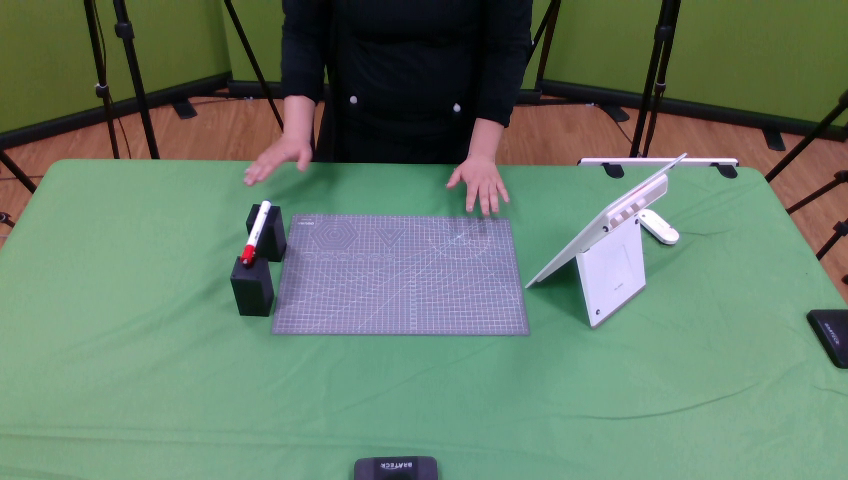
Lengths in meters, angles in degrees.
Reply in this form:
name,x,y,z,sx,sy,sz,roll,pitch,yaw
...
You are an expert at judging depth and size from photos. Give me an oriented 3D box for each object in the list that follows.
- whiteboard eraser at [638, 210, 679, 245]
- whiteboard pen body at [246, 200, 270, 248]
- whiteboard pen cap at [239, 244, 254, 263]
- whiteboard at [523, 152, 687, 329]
name,x,y,z,sx,sy,sz,roll,pitch,yaw
whiteboard eraser,0.485,-0.027,1.260,0.041,0.019,0.100,-21,50,-21
whiteboard pen body,-0.293,-0.020,1.059,0.017,0.017,0.139,5,46,0
whiteboard pen cap,-0.298,0.022,1.016,0.017,0.017,0.032,6,45,2
whiteboard,0.346,0.025,1.046,0.217,0.306,0.143,-30,74,-29
